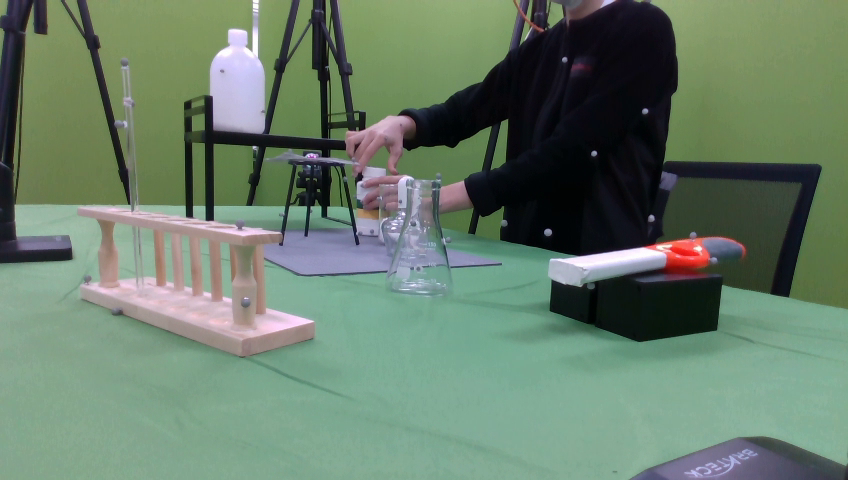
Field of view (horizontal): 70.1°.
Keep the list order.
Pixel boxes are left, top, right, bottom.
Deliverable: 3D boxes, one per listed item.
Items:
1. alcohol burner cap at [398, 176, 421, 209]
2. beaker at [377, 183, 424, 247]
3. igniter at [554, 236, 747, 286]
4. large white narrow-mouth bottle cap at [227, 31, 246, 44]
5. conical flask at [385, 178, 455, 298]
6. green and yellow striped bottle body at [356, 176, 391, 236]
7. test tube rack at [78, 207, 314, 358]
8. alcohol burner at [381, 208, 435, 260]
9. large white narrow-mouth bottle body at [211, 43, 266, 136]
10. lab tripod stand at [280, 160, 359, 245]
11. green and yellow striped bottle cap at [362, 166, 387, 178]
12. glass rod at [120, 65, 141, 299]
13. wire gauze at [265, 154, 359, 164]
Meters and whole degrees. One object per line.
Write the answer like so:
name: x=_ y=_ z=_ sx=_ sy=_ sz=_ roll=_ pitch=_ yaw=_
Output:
alcohol burner cap: x=-0.023 y=-0.068 z=0.866 sx=0.034 sy=0.048 sz=0.034 roll=-5 pitch=8 yaw=1
beaker: x=-0.038 y=-0.041 z=0.995 sx=0.074 sy=0.100 sz=0.083 roll=-5 pitch=12 yaw=-44
igniter: x=0.221 y=0.017 z=0.558 sx=0.278 sy=0.025 sz=0.057 roll=-5 pitch=14 yaw=-39
large white narrow-mouth bottle cap: x=-0.361 y=-0.388 z=1.166 sx=0.038 sy=0.024 sz=0.037 roll=1 pitch=7 yaw=0
conical flask: x=-0.002 y=-0.004 z=0.639 sx=0.075 sy=0.122 sz=0.075 roll=2 pitch=7 yaw=0
green and yellow striped bottle body: x=-0.093 y=-0.069 z=1.112 sx=0.063 sy=0.119 sz=0.063 roll=3 pitch=7 yaw=0
test tube rack: x=-0.196 y=0.024 z=0.499 sx=0.241 sy=0.085 sz=0.067 roll=8 pitch=8 yaw=37
alcohol burner: x=-0.023 y=-0.032 z=0.872 sx=0.078 sy=0.119 sz=0.078 roll=0 pitch=6 yaw=0
large white narrow-mouth bottle body: x=-0.361 y=-0.302 z=1.176 sx=0.102 sy=0.194 sz=0.102 roll=1 pitch=7 yaw=0
lab tripod stand: x=-0.176 y=-0.062 z=0.973 sx=0.148 sy=0.131 sz=0.148 roll=1 pitch=7 yaw=0
green and yellow striped bottle cap: x=-0.090 y=-0.124 z=1.105 sx=0.045 sy=0.020 sz=0.045 roll=4 pitch=8 yaw=0
glass rod: x=-0.249 y=-0.047 z=0.513 sx=0.008 sy=0.199 sz=0.008 roll=-1 pitch=4 yaw=0
wire gauze: x=-0.181 y=-0.129 z=0.969 sx=0.126 sy=0.011 sz=0.121 roll=-1 pitch=7 yaw=-27
